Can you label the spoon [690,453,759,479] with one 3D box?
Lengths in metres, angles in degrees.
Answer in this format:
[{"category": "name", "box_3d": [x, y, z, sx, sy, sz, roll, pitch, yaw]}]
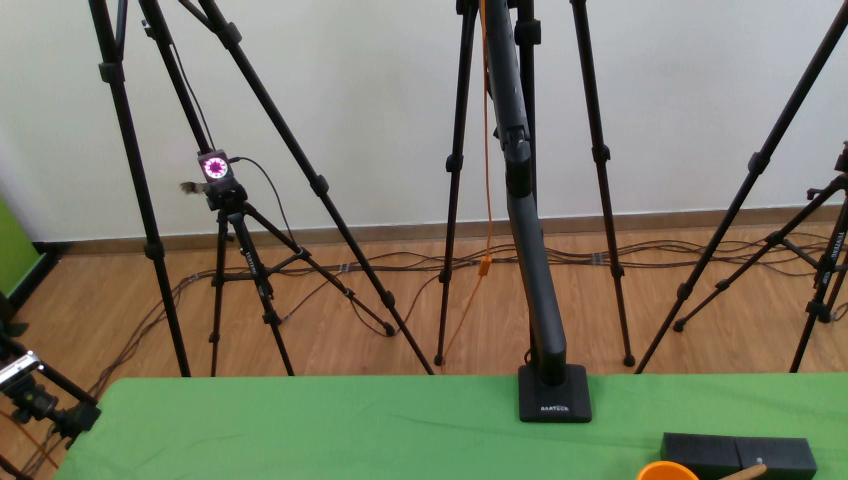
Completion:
[{"category": "spoon", "box_3d": [0.367, 0.334, 0.827, 0.022, 0.194, 0.041, 28, 37, -24]}]
